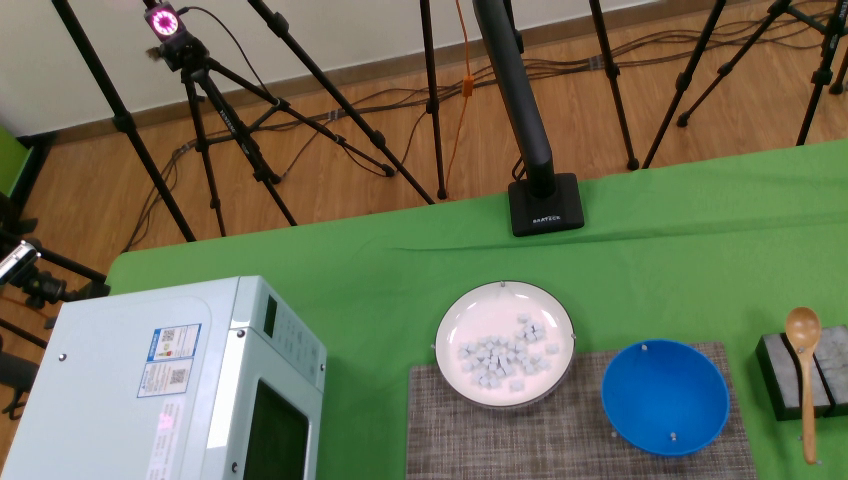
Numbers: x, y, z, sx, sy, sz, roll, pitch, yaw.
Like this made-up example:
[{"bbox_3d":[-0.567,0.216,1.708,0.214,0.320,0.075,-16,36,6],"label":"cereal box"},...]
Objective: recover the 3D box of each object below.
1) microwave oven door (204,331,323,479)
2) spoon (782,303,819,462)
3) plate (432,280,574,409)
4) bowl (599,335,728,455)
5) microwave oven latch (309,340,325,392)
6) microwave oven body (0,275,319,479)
[{"bbox_3d":[-0.196,0.320,0.738,0.039,0.246,0.352,-10,55,11],"label":"microwave oven door"},{"bbox_3d":[0.465,0.170,0.742,0.041,0.022,0.192,5,64,15],"label":"spoon"},{"bbox_3d":[0.118,0.156,0.901,0.209,0.038,0.207,-8,52,11],"label":"plate"},{"bbox_3d":[0.304,0.209,0.781,0.151,0.077,0.150,-8,55,12],"label":"bowl"},{"bbox_3d":[-0.172,0.197,0.943,0.030,0.030,0.078,-9,55,10],"label":"microwave oven latch"},{"bbox_3d":[-0.337,0.311,0.793,0.325,0.263,0.437,-9,55,10],"label":"microwave oven body"}]
